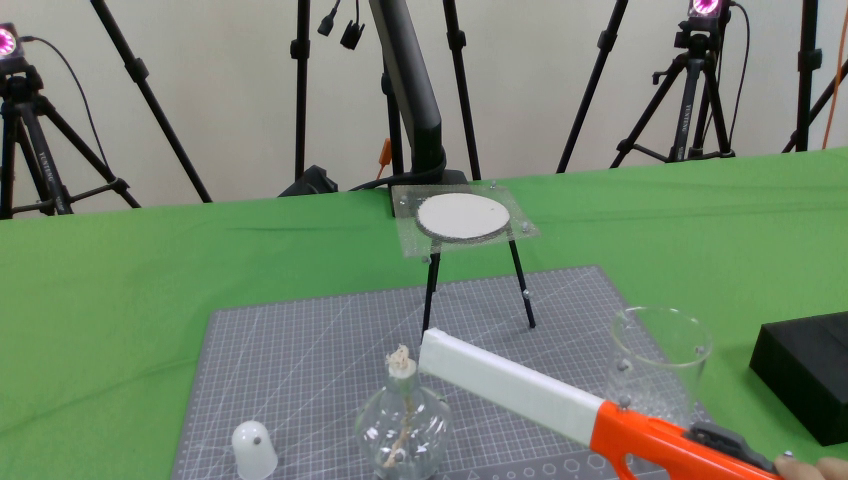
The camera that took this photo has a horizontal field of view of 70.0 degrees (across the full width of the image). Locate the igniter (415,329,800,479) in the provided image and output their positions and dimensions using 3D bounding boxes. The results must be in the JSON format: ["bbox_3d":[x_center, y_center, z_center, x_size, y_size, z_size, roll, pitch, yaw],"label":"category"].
[{"bbox_3d":[0.109,0.113,0.352,0.274,0.057,0.025,18,15,32],"label":"igniter"}]

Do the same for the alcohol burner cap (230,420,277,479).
[{"bbox_3d":[-0.136,0.164,0.480,0.034,0.048,0.033,-1,32,1],"label":"alcohol burner cap"}]

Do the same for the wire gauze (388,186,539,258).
[{"bbox_3d":[0.031,-0.023,0.563,0.122,0.011,0.124,-5,31,-7],"label":"wire gauze"}]

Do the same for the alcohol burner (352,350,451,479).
[{"bbox_3d":[-0.018,0.129,0.462,0.078,0.120,0.077,-1,33,1],"label":"alcohol burner"}]

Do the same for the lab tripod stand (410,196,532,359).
[{"bbox_3d":[0.038,0.032,0.602,0.148,0.132,0.147,0,30,0],"label":"lab tripod stand"}]

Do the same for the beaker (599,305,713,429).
[{"bbox_3d":[0.180,0.113,0.493,0.074,0.101,0.083,-15,33,-21],"label":"beaker"}]
